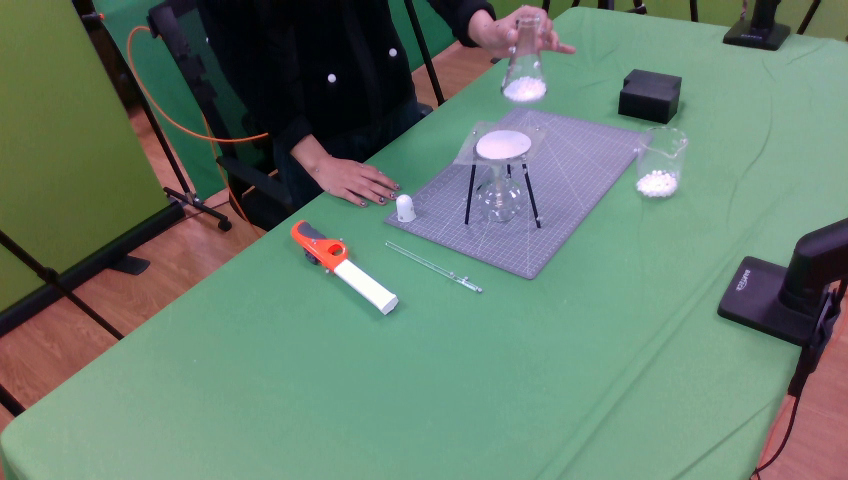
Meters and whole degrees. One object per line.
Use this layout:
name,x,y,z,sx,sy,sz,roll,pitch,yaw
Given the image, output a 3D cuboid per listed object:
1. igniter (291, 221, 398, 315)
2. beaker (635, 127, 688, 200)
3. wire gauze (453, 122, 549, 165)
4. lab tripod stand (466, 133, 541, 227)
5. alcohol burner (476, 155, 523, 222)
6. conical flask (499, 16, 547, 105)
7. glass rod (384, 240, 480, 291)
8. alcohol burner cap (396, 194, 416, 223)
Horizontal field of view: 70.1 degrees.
igniter,-0.136,0.037,0.962,0.057,0.025,0.274,-41,48,-18
beaker,0.388,-0.122,0.994,0.074,0.101,0.083,-8,40,2
wire gauze,0.121,-0.150,0.942,0.121,0.011,0.125,8,41,21
lab tripod stand,0.130,-0.099,0.985,0.148,0.132,0.147,-6,38,6
alcohol burner,0.123,-0.089,0.990,0.078,0.120,0.077,-6,41,6
conical flask,0.153,-0.275,0.922,0.075,0.122,0.075,-2,37,2
glass rod,0.009,0.037,0.949,0.198,0.008,0.008,26,52,34
alcohol burner cap,-0.032,-0.056,1.036,0.034,0.048,0.033,-6,40,6
